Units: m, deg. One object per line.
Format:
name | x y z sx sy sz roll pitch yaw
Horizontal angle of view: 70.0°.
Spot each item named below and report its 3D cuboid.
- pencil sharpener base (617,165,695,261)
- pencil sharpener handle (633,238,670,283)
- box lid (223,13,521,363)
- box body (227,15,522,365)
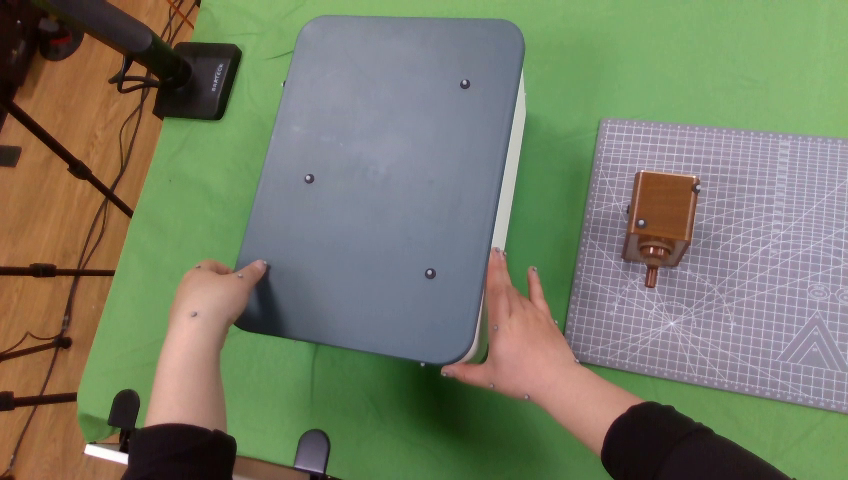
pencil sharpener base | 0.243 -0.023 0.644 0.061 0.108 0.076 9 77 16
pencil sharpener handle | 0.232 0.023 0.621 0.036 0.068 0.030 7 76 23
box lid | -0.052 -0.074 0.627 0.262 0.015 0.370 7 76 15
box body | -0.035 -0.051 0.695 0.253 0.161 0.362 7 76 15
